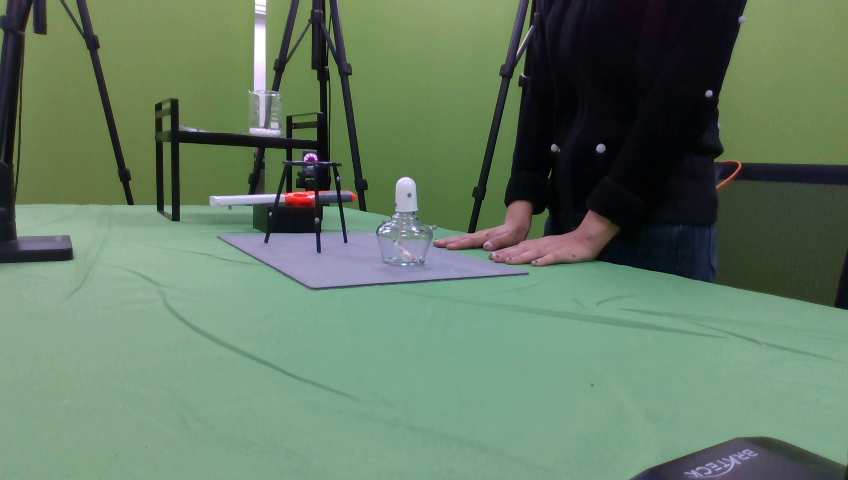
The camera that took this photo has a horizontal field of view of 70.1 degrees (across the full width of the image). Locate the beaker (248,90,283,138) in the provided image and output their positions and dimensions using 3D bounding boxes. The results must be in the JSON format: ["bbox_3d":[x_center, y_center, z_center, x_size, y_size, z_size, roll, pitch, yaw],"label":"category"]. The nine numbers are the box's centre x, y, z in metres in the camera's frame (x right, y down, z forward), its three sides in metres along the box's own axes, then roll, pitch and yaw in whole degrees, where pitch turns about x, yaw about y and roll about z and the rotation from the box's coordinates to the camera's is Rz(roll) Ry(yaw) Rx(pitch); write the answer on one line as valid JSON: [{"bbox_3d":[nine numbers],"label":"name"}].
[{"bbox_3d":[-0.354,-0.278,1.340,0.074,0.100,0.084,6,9,26],"label":"beaker"}]

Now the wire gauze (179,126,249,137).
[{"bbox_3d":[-0.439,-0.227,1.266,0.122,0.011,0.124,1,9,-34],"label":"wire gauze"}]

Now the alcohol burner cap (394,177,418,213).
[{"bbox_3d":[-0.025,-0.060,0.809,0.034,0.048,0.034,-4,10,1],"label":"alcohol burner cap"}]

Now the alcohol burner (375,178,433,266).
[{"bbox_3d":[-0.026,-0.025,0.815,0.078,0.119,0.078,4,7,0],"label":"alcohol burner"}]

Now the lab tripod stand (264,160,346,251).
[{"bbox_3d":[-0.177,-0.056,0.930,0.148,0.131,0.148,1,9,0],"label":"lab tripod stand"}]

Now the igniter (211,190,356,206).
[{"bbox_3d":[-0.260,-0.080,1.151,0.278,0.025,0.057,-5,13,-34],"label":"igniter"}]
